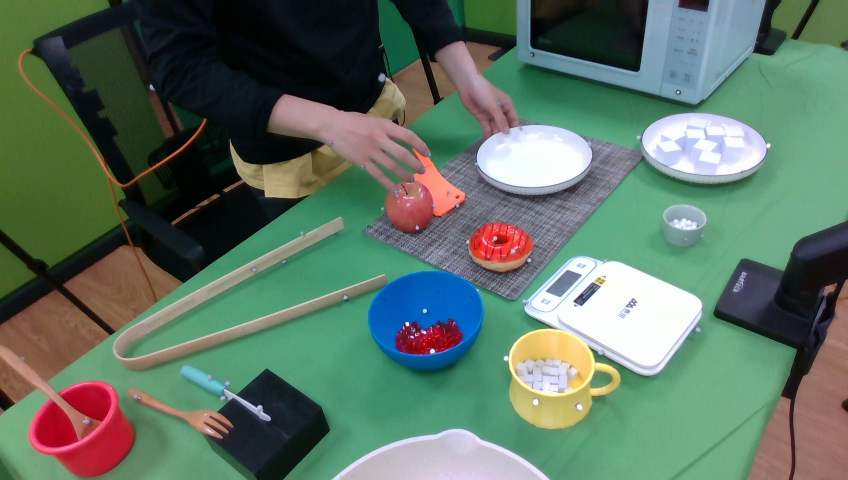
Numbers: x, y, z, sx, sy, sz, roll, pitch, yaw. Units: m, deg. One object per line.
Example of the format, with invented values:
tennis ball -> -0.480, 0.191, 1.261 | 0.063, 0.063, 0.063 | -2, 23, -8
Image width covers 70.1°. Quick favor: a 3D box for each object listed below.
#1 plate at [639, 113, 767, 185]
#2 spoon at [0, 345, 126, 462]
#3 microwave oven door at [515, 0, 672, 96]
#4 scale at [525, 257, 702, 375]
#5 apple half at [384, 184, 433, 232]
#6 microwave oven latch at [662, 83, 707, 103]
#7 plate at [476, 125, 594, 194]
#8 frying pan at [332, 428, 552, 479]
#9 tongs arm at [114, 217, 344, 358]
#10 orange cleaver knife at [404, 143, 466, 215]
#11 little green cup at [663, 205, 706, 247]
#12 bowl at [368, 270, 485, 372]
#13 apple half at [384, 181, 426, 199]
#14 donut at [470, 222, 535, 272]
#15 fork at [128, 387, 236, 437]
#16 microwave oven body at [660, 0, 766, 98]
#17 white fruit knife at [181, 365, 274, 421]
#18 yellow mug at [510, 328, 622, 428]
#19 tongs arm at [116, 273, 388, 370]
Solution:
plate -> 0.489, -0.157, 1.074 | 0.207, 0.039, 0.206 | -4, 40, 4
spoon -> -0.434, 0.192, 0.720 | 0.194, 0.021, 0.042 | 47, 54, -7
microwave oven door -> 0.343, -0.454, 1.259 | 0.353, 0.245, 0.039 | 26, 51, 33
scale -> 0.254, 0.091, 0.821 | 0.199, 0.032, 0.149 | 27, 51, 35
apple half -> -0.022, -0.046, 0.987 | 0.081, 0.075, 0.053 | -8, 43, -6
microwave oven latch -> 0.517, -0.296, 1.204 | 0.078, 0.029, 0.030 | 28, 52, 35
plate -> 0.199, -0.141, 1.093 | 0.209, 0.038, 0.208 | -4, 40, 4
frying pan -> -0.089, 0.306, 0.564 | 0.487, 0.103, 0.306 | 10, 41, 7
tongs arm -> -0.280, 0.067, 0.926 | 0.386, 0.026, 0.050 | -29, 49, -23
orange cleaver knife -> 0.005, -0.114, 1.102 | 0.077, 0.012, 0.209 | -23, 45, -10
little green cup -> 0.396, -0.020, 0.926 | 0.061, 0.039, 0.061 | -4, 40, 4
bowl -> 0.007, 0.118, 0.791 | 0.151, 0.077, 0.150 | -5, 40, 4
apple half -> -0.029, -0.071, 1.015 | 0.081, 0.081, 0.032 | -10, 44, -3
donut -> 0.119, 0.009, 0.923 | 0.099, 0.048, 0.098 | -4, 38, 4
fork -> -0.305, 0.207, 0.744 | 0.206, 0.019, 0.028 | 3, 41, 36
microwave oven body -> 0.472, -0.513, 1.317 | 0.438, 0.261, 0.327 | 26, 51, 34
white fruit knife -> -0.245, 0.187, 0.747 | 0.205, 0.027, 0.016 | 9, 41, 40
yellow mug -> 0.169, 0.164, 0.722 | 0.130, 0.064, 0.099 | 0, 40, 8
tongs arm -> -0.236, 0.114, 0.870 | 0.389, 0.028, 0.028 | -18, 49, -13
